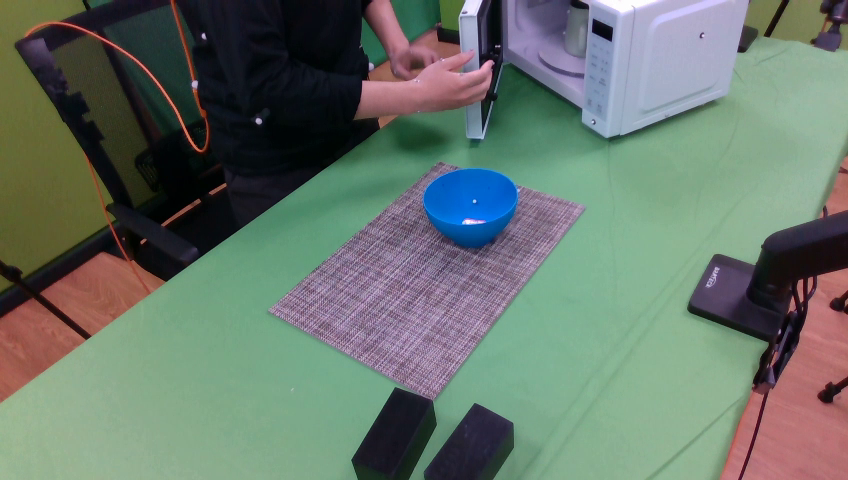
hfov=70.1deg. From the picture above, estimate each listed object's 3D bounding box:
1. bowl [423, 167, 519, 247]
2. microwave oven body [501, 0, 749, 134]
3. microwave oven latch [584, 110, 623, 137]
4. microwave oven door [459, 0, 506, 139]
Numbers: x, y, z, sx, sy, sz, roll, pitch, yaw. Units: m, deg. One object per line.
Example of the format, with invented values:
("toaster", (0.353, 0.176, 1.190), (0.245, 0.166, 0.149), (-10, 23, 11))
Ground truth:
("bowl", (0.075, -0.041, 0.959), (0.151, 0.077, 0.150), (-4, 40, 4))
("microwave oven body", (0.382, -0.445, 1.246), (0.327, 0.261, 0.437), (-22, 42, -16))
("microwave oven latch", (0.337, -0.222, 1.142), (0.030, 0.029, 0.078), (-21, 42, -14))
("microwave oven door", (0.125, -0.403, 1.226), (0.039, 0.245, 0.355), (2, 42, 14))
